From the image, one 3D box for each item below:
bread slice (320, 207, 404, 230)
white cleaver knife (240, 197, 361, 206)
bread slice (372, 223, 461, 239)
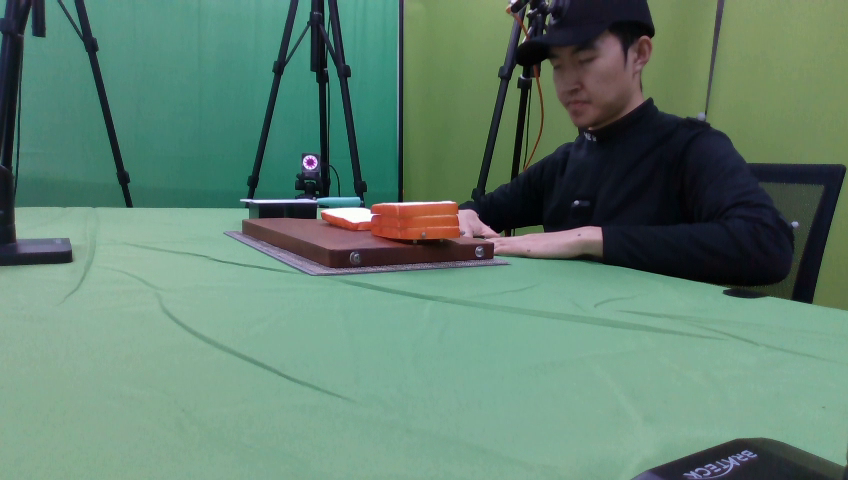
[{"bbox_3d":[-0.113,-0.038,1.042,0.105,0.019,0.131,-6,15,-41],"label":"bread slice"},{"bbox_3d":[-0.254,-0.086,1.296,0.065,0.021,0.288,9,8,43],"label":"white cleaver knife"},{"bbox_3d":[-0.009,-0.013,0.888,0.107,0.018,0.134,-3,5,-21],"label":"bread slice"}]
